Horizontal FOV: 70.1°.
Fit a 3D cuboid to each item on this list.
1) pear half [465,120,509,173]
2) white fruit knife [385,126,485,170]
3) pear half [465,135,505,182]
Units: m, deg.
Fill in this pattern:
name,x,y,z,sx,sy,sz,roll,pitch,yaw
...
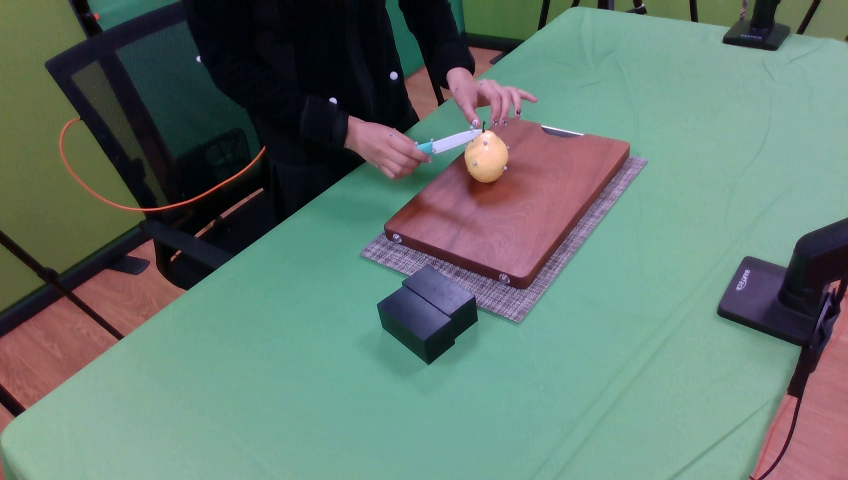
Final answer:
name,x,y,z,sx,sy,sz,roll,pitch,yaw
pear half,0.110,-0.163,1.042,0.076,0.110,0.056,6,42,12
white fruit knife,0.013,-0.156,1.012,0.206,0.027,0.016,-14,38,33
pear half,0.102,-0.132,1.023,0.070,0.088,0.031,7,43,11
